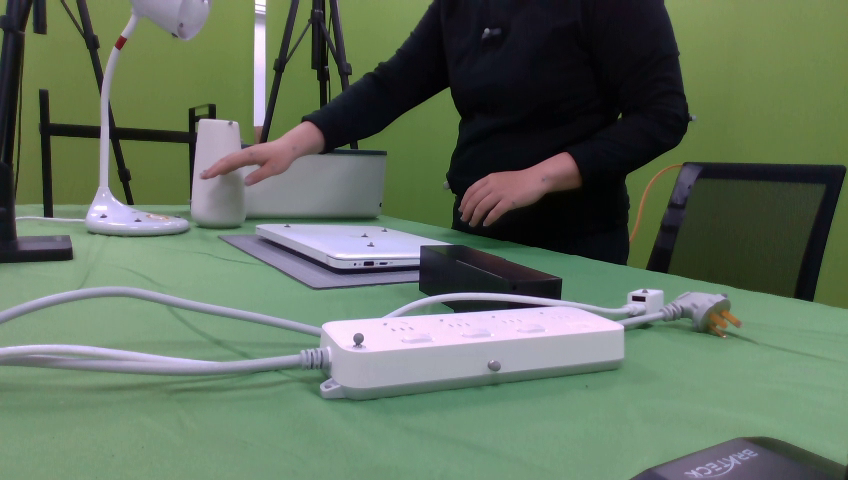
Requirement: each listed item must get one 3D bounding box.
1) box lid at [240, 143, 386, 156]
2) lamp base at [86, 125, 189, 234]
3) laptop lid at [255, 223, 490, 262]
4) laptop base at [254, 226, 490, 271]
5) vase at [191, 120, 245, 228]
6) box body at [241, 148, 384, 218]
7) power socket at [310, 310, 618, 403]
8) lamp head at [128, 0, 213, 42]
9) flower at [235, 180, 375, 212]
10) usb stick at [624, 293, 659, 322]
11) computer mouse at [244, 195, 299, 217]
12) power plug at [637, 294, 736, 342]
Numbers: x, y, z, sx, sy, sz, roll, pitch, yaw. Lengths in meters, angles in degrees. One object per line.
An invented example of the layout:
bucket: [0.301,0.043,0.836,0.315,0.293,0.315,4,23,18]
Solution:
box lid: [-0.304,-0.217,1.463,0.373,0.015,0.262,-2,8,-30]
lamp base: [-0.497,-0.105,1.027,0.179,0.180,0.160,1,7,3]
laptop lid: [-0.093,0.000,0.910,0.243,0.013,0.355,1,7,-30]
laptop base: [-0.096,0.011,0.911,0.237,0.023,0.352,2,7,-32]
vase: [-0.389,-0.124,1.142,0.098,0.200,0.098,3,9,0]
box body: [-0.306,-0.144,1.474,0.366,0.160,0.253,-1,9,-30]
power socket: [0.033,0.074,0.415,0.228,0.032,0.072,-1,7,-24]
lamp head: [-0.423,-0.394,0.980,0.123,0.112,0.112,20,7,-3]
flower: [-0.264,-0.092,1.416,0.364,0.038,0.044,8,-42,-39]
usb stick: [0.211,0.064,0.580,0.021,0.027,0.059,-2,-5,35]
computer mouse: [-0.346,-0.077,1.372,0.118,0.041,0.062,-11,18,-33]
power plug: [0.234,0.077,0.536,0.072,0.035,0.052,-32,41,-4]
